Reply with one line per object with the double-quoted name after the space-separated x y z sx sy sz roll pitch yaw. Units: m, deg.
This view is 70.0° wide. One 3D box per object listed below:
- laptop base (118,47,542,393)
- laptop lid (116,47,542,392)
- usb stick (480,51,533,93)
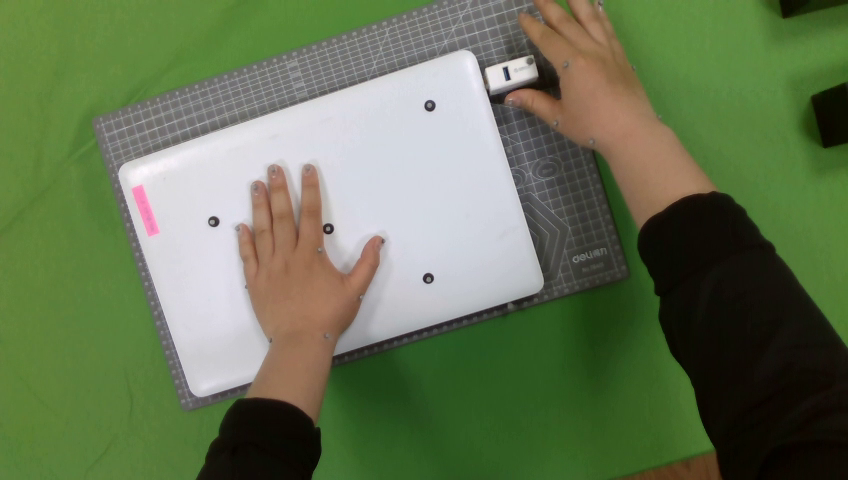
-0.090 -0.016 0.575 0.354 0.023 0.236 -18 95 4 "laptop base"
-0.090 -0.013 0.565 0.356 0.013 0.242 -17 94 4 "laptop lid"
0.067 -0.150 0.548 0.059 0.027 0.021 -14 85 6 "usb stick"
